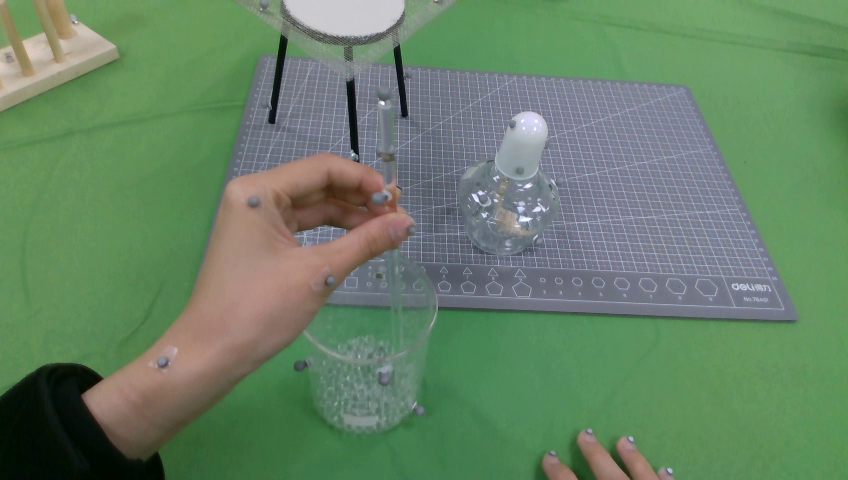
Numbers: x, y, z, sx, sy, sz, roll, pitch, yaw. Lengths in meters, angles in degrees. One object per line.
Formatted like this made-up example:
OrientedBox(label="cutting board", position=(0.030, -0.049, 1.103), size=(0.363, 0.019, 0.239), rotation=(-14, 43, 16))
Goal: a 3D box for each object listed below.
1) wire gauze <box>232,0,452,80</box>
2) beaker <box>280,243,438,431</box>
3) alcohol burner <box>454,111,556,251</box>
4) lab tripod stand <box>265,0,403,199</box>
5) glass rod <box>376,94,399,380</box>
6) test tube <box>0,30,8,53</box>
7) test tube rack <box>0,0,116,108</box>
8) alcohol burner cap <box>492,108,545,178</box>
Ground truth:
OrientedBox(label="wire gauze", position=(-0.061, -0.171, 0.433), size=(0.124, 0.011, 0.121), rotation=(35, 55, 18))
OrientedBox(label="beaker", position=(-0.037, 0.062, 0.356), size=(0.084, 0.101, 0.073), rotation=(-5, 50, -10))
OrientedBox(label="alcohol burner", position=(0.063, -0.047, 0.447), size=(0.078, 0.120, 0.077), rotation=(5, 49, -5))
OrientedBox(label="lab tripod stand", position=(-0.065, -0.128, 0.485), size=(0.148, 0.132, 0.147), rotation=(5, 51, -6))
OrientedBox(label="glass rod", position=(-0.019, 0.014, 0.328), size=(0.008, 0.201, 0.008), rotation=(1, 41, 0))
OrientedBox(label="test tube", position=(-0.378, -0.222, 0.492), size=(0.017, 0.151, 0.017), rotation=(2, 47, -2))
OrientedBox(label="test tube rack", position=(-0.393, -0.154, 0.498), size=(0.066, 0.086, 0.242), rotation=(34, 54, 19))
OrientedBox(label="alcohol burner cap", position=(0.067, -0.069, 0.419), size=(0.034, 0.048, 0.033), rotation=(3, 55, -4))
